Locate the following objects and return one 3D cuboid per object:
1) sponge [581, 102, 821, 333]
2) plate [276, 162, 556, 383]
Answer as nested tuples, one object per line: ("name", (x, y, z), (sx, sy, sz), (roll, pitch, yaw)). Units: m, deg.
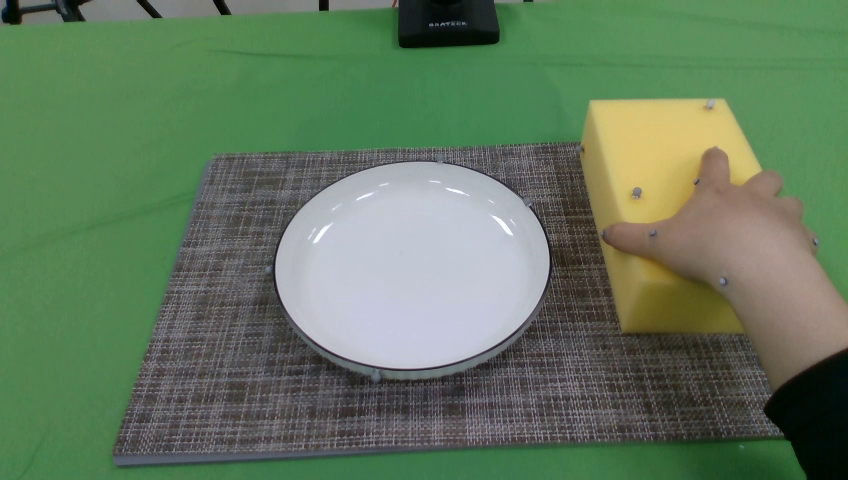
("sponge", (0.203, -0.026, 0.483), (0.118, 0.061, 0.205), (-1, 47, 1))
("plate", (-0.005, 0.021, 0.464), (0.207, 0.039, 0.205), (-1, 47, 2))
